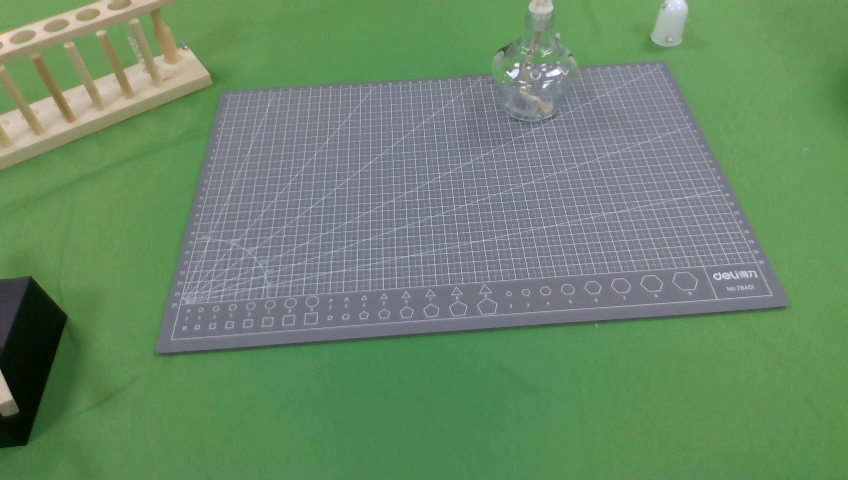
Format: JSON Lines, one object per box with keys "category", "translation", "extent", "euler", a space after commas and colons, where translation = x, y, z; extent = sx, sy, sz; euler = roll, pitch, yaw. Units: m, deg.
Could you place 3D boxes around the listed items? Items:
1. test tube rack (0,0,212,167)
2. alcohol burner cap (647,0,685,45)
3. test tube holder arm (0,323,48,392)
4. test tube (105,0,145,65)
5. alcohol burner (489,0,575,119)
{"category": "test tube rack", "translation": [-0.338, -0.153, 0.569], "extent": [0.242, 0.086, 0.066], "euler": [-29, 55, -20]}
{"category": "alcohol burner cap", "translation": [0.254, -0.230, 0.630], "extent": [0.034, 0.048, 0.033], "euler": [-2, 51, 3]}
{"category": "test tube holder arm", "translation": [-0.291, 0.042, 0.390], "extent": [0.177, 0.015, 0.013], "euler": [31, 61, 26]}
{"category": "test tube", "translation": [-0.292, -0.231, 0.565], "extent": [0.017, 0.152, 0.017], "euler": [-3, 48, 4]}
{"category": "alcohol burner", "translation": [0.097, -0.169, 0.539], "extent": [0.078, 0.120, 0.077], "euler": [-1, 49, 1]}
